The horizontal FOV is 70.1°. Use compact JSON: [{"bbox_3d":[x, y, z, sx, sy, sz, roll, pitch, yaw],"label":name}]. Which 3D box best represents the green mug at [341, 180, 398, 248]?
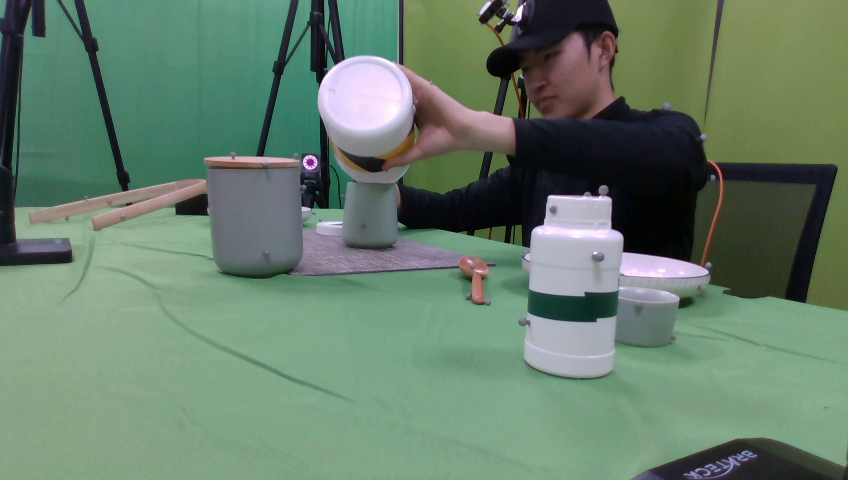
[{"bbox_3d":[-0.091,-0.044,0.997,0.093,0.105,0.125,1,8,-10],"label":"green mug"}]

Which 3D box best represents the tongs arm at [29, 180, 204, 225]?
[{"bbox_3d":[-0.609,-0.083,1.245,0.050,0.026,0.386,5,16,23],"label":"tongs arm"}]

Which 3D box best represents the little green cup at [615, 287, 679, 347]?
[{"bbox_3d":[0.180,0.064,0.506,0.061,0.038,0.061,2,8,0],"label":"little green cup"}]

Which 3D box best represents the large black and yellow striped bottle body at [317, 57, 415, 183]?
[{"bbox_3d":[-0.079,-0.165,0.895,0.131,0.130,0.184,3,-19,2],"label":"large black and yellow striped bottle body"}]

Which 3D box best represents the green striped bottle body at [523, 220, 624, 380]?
[{"bbox_3d":[0.104,0.031,0.422,0.063,0.119,0.063,2,8,0],"label":"green striped bottle body"}]

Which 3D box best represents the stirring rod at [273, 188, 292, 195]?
[{"bbox_3d":[-0.354,-0.122,1.518,0.006,0.014,0.176,2,6,1],"label":"stirring rod"}]

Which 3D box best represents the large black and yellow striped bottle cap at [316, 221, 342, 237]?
[{"bbox_3d":[-0.147,-0.021,1.147,0.115,0.019,0.115,2,9,0],"label":"large black and yellow striped bottle cap"}]

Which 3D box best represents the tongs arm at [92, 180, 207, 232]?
[{"bbox_3d":[-0.534,-0.076,1.221,0.028,0.028,0.388,-2,15,12],"label":"tongs arm"}]

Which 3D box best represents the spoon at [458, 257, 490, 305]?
[{"bbox_3d":[0.059,0.044,0.695,0.041,0.021,0.194,18,7,1],"label":"spoon"}]

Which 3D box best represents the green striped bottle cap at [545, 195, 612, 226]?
[{"bbox_3d":[0.106,-0.020,0.414,0.044,0.020,0.044,2,4,0],"label":"green striped bottle cap"}]

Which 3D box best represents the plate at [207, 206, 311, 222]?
[{"bbox_3d":[-0.342,-0.050,1.259,0.208,0.039,0.207,2,7,0],"label":"plate"}]

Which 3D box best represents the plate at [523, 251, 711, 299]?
[{"bbox_3d":[0.219,0.041,0.706,0.209,0.038,0.209,2,7,0],"label":"plate"}]

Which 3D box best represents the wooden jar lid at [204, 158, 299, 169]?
[{"bbox_3d":[-0.202,-0.086,0.714,0.108,0.020,0.108,3,11,0],"label":"wooden jar lid"}]

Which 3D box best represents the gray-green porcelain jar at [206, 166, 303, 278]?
[{"bbox_3d":[-0.201,-0.024,0.724,0.106,0.126,0.106,-1,9,1],"label":"gray-green porcelain jar"}]
